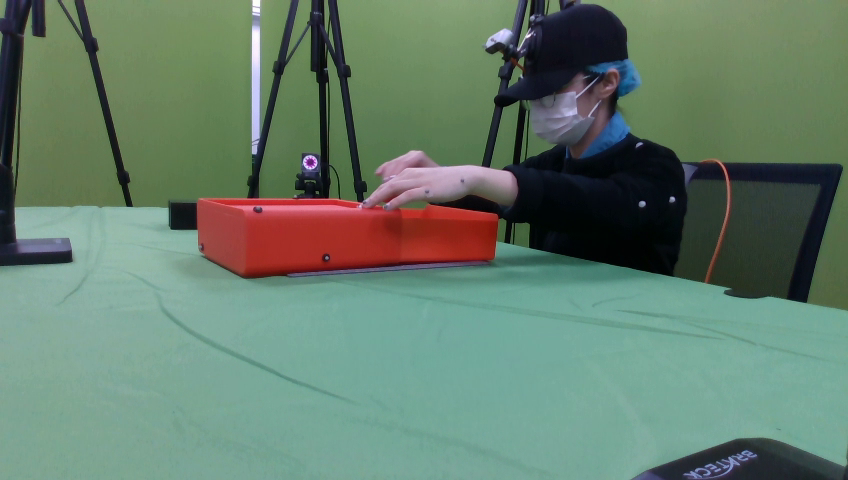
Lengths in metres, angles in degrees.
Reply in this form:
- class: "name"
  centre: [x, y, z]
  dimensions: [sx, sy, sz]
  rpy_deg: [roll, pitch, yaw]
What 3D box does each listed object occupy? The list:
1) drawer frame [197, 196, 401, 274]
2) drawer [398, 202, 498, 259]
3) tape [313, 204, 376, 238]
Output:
- class: "drawer frame"
  centre: [-0.171, -0.015, 0.819]
  dimensions: [0.215, 0.082, 0.200]
  rpy_deg: [-4, 10, -35]
- class: "drawer"
  centre: [-0.029, -0.018, 0.917]
  dimensions: [0.213, 0.073, 0.193]
  rpy_deg: [-1, 9, -34]
- class: "tape"
  centre: [-0.145, -0.036, 1.117]
  dimensions: [0.117, 0.052, 0.117]
  rpy_deg: [3, 8, 0]
